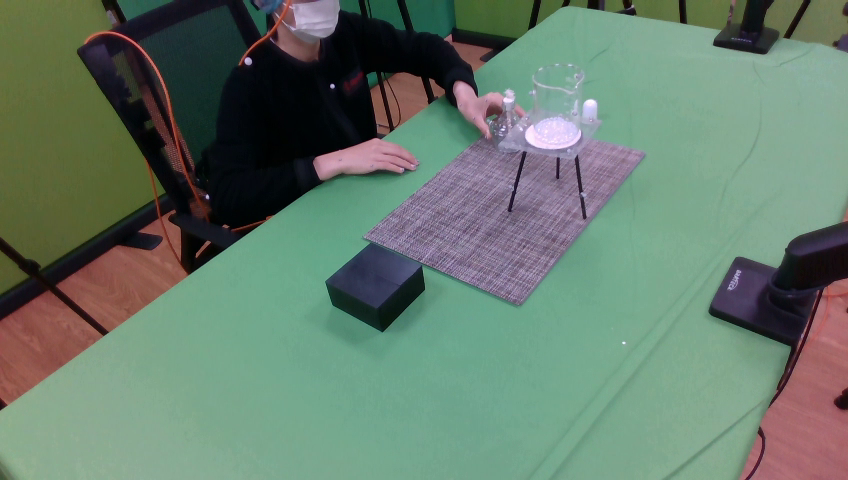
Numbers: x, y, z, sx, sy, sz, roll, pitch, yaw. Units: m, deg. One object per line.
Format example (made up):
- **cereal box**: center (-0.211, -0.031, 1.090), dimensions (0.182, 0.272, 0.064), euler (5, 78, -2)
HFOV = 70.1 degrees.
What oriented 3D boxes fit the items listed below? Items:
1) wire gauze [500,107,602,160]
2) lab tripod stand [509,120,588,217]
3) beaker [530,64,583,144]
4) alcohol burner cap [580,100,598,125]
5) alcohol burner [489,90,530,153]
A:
- **wire gauze**: center (0.199, -0.166, 0.945), dimensions (0.120, 0.011, 0.125), euler (17, 50, 28)
- **lab tripod stand**: center (0.207, -0.114, 0.983), dimensions (0.148, 0.132, 0.147), euler (-5, 42, 5)
- **beaker**: center (0.201, -0.201, 0.909), dimensions (0.074, 0.101, 0.083), euler (-19, 43, -10)
- **alcohol burner cap**: center (0.331, -0.258, 1.210), dimensions (0.034, 0.048, 0.033), euler (-4, 41, 4)
- **alcohol burner**: center (0.160, -0.226, 1.137), dimensions (0.078, 0.119, 0.077), euler (-6, 41, 6)
